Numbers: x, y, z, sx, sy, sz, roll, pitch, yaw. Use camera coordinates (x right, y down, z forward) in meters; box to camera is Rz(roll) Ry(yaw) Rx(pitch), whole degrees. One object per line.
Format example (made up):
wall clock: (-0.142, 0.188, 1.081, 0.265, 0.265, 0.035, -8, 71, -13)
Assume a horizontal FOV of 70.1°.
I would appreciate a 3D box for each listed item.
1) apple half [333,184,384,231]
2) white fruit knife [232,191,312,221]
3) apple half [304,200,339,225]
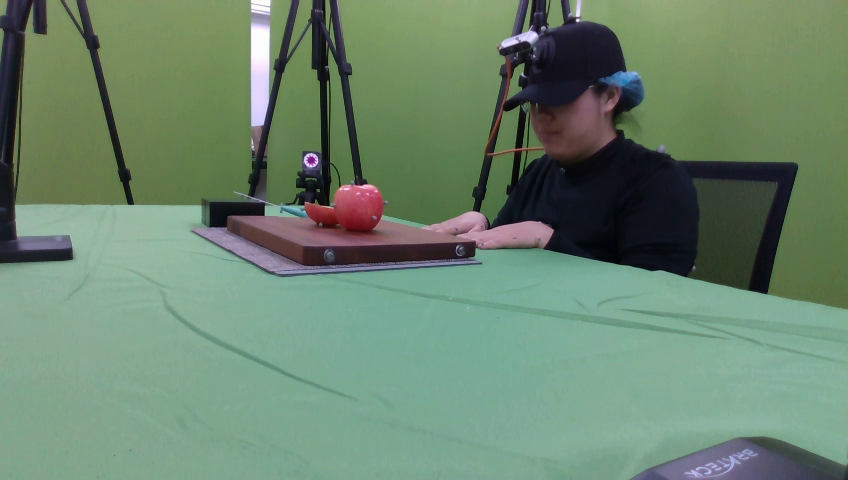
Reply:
apple half: (-0.097, -0.050, 0.949, 0.081, 0.074, 0.053, 1, 11, -38)
white fruit knife: (-0.286, -0.065, 1.221, 0.208, 0.016, 0.027, 18, -2, -31)
apple half: (-0.163, -0.040, 1.000, 0.081, 0.033, 0.081, 15, -2, 1)
